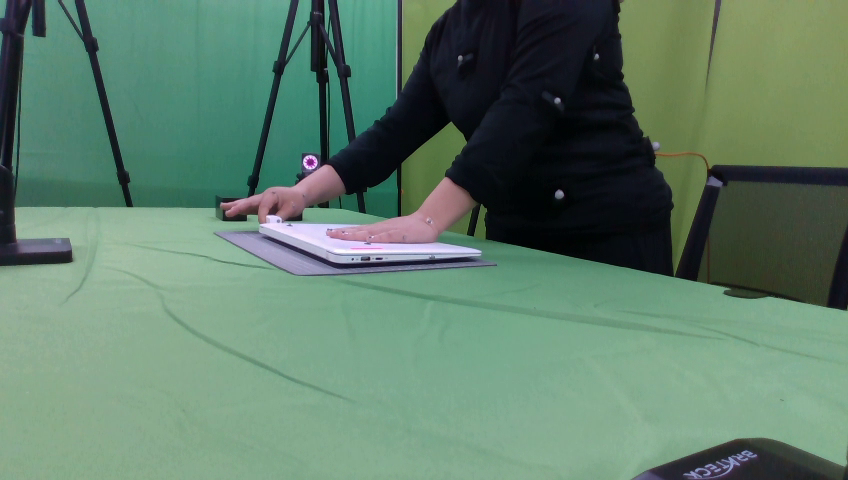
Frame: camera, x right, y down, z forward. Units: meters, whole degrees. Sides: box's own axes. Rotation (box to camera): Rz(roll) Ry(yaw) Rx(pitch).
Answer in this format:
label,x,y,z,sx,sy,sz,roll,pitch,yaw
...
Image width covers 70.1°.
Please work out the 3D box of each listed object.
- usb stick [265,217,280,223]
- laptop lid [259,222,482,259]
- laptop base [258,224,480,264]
label,x,y,z,sx,sy,sz,roll,pitch,yaw
usb stick,-0.271,-0.028,1.085,0.021,0.027,0.059,-2,6,-23
laptop lid,-0.100,-0.002,0.962,0.243,0.013,0.355,2,7,-30
laptop base,-0.103,0.007,0.962,0.237,0.023,0.352,3,5,-32
